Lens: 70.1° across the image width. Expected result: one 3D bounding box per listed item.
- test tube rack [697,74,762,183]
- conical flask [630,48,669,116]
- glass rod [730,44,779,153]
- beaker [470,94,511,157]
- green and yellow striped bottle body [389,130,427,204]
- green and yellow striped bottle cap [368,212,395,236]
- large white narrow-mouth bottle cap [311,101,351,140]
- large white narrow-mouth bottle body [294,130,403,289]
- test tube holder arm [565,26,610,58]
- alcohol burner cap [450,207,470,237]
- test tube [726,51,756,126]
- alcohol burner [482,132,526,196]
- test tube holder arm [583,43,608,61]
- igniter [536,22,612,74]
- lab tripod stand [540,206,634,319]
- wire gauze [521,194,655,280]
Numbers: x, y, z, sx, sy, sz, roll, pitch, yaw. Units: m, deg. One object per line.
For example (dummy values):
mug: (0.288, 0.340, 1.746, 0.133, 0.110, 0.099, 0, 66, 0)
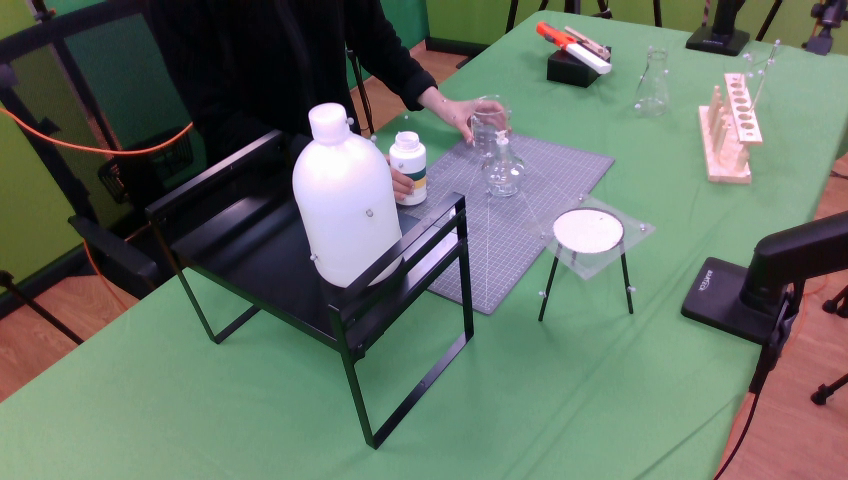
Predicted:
test tube rack: (0.547, -0.208, 1.094, 0.066, 0.085, 0.242, 6, 42, 15)
conical flask: (0.456, -0.317, 1.205, 0.075, 0.122, 0.075, -4, 41, 4)
glass rod: (0.555, -0.233, 1.020, 0.008, 0.200, 0.008, 2, 40, -1)
beaker: (0.125, -0.216, 1.148, 0.074, 0.101, 0.083, -21, 42, -16)
green and yellow striped bottle body: (-0.027, -0.126, 1.038, 0.063, 0.120, 0.063, -1, 38, 1)
green and yellow striped bottle cap: (-0.071, -0.028, 1.021, 0.045, 0.020, 0.045, -5, 40, 5)
large white narrow-mouth bottle cap: (-0.089, -0.114, 0.578, 0.038, 0.024, 0.037, -4, 39, 3)
large white narrow-mouth bottle body: (-0.082, -0.047, 0.634, 0.102, 0.195, 0.101, -4, 40, 4)
test tube holder arm: (0.369, -0.450, 1.373, 0.013, 0.015, 0.177, -39, 41, 10)
alcohol burner cap: (0.057, -0.032, 0.987, 0.034, 0.048, 0.033, -4, 41, 4)
test tube: (0.568, -0.268, 1.086, 0.017, 0.151, 0.017, -4, 46, 4)
alcohol burner: (0.137, -0.136, 1.042, 0.078, 0.119, 0.077, -4, 43, 4)
test tube holder arm: (0.379, -0.420, 1.341, 0.010, 0.015, 0.087, -39, 41, 10)
igniter: (0.330, -0.439, 1.366, 0.057, 0.025, 0.274, -11, 41, -20)
lab tripod stand: (0.218, 0.034, 0.821, 0.148, 0.132, 0.147, -4, 42, 4)
wire gauze: (0.207, -0.012, 0.772, 0.122, 0.011, 0.124, -28, 44, -20)
